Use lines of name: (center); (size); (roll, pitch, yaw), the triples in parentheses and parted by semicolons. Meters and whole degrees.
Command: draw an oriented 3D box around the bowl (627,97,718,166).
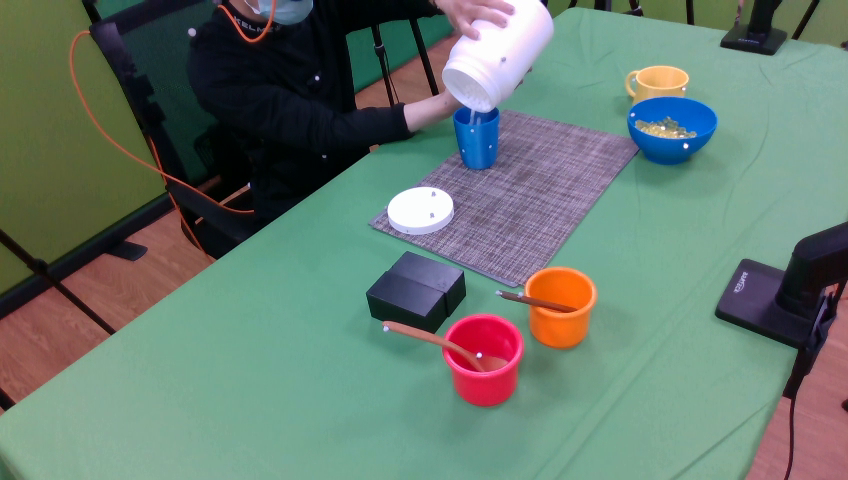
bowl: (0.439, -0.187, 1.087); (0.151, 0.077, 0.150); (-4, 41, 4)

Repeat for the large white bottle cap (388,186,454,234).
large white bottle cap: (-0.006, -0.052, 1.036); (0.115, 0.018, 0.114); (-4, 40, 4)

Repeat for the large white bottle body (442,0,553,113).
large white bottle body: (0.126, -0.329, 1.063); (0.129, 0.131, 0.184); (28, 76, 34)

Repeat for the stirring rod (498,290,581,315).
stirring rod: (0.152, 0.081, 0.771); (0.178, 0.006, 0.014); (16, 19, -44)

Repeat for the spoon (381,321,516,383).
spoon: (0.033, 0.131, 0.725); (0.195, 0.021, 0.041); (29, 29, -26)

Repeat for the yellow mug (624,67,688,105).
yellow mug: (0.465, -0.305, 1.230); (0.100, 0.064, 0.129); (-34, 46, -27)

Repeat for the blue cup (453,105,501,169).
blue cup: (0.100, -0.188, 1.114); (0.092, 0.100, 0.092); (-4, 39, 4)
